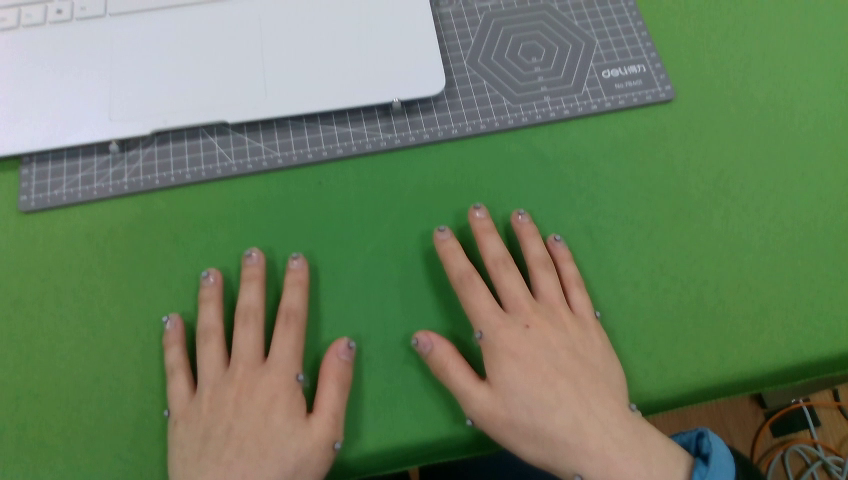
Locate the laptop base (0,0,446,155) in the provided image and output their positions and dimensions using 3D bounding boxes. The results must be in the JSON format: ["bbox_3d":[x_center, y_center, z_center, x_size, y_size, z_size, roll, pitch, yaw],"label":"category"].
[{"bbox_3d":[-0.175,-0.179,0.454,0.355,0.023,0.234,-9,71,-4],"label":"laptop base"}]
